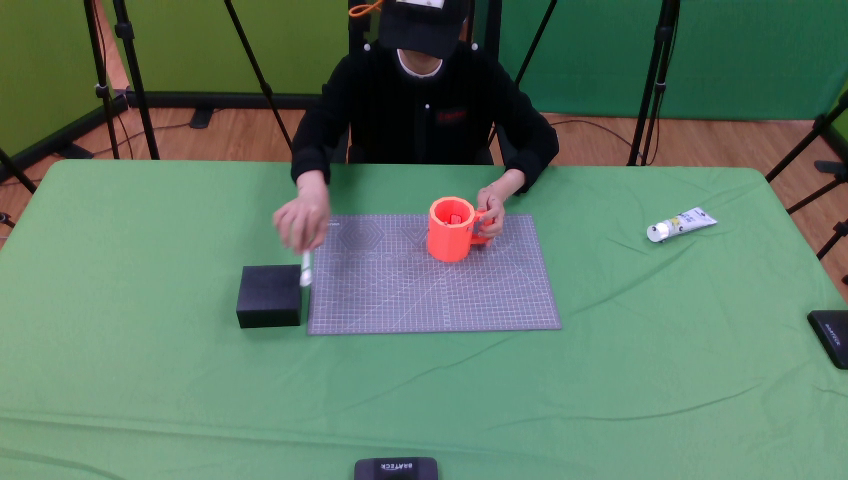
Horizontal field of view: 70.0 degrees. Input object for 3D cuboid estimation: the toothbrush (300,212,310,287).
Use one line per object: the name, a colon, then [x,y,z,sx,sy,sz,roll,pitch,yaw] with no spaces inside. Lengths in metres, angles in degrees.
toothbrush: [-0.204,0.010,1.039,0.014,0.017,0.180,0,42,-10]

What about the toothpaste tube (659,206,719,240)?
toothpaste tube: [0.542,-0.035,1.259,0.165,0.034,0.054,-19,55,-26]

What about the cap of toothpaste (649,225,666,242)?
cap of toothpaste: [0.473,-0.015,1.226,0.011,0.037,0.037,-20,50,-26]

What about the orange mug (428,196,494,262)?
orange mug: [0.070,-0.023,1.164,0.126,0.101,0.083,-7,46,-5]
